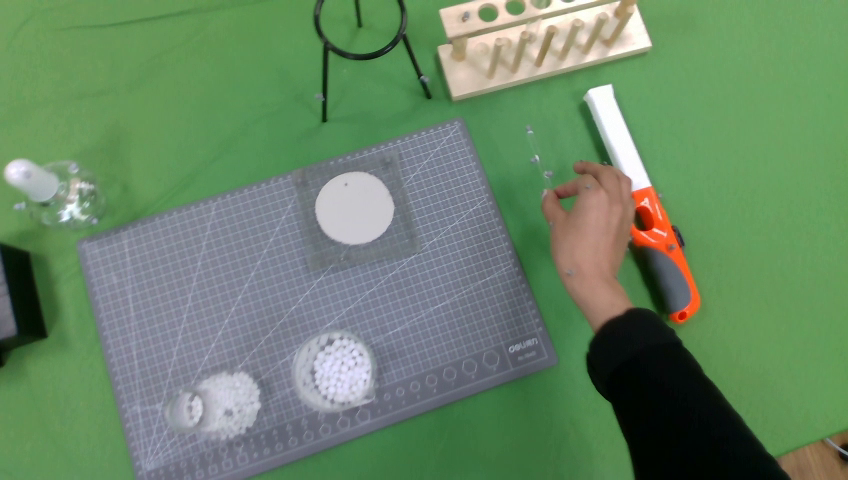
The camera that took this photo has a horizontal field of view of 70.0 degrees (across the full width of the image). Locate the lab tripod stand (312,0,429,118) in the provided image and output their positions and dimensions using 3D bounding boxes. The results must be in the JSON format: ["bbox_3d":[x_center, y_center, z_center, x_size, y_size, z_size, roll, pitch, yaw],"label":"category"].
[{"bbox_3d":[-0.065,-0.202,0.644,0.148,0.132,0.148,0,80,-1],"label":"lab tripod stand"}]

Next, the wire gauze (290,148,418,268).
[{"bbox_3d":[-0.079,-0.036,0.672,0.125,0.011,0.121,-11,79,-6],"label":"wire gauze"}]

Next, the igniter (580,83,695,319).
[{"bbox_3d":[0.237,-0.048,0.673,0.057,0.025,0.275,-16,79,-14],"label":"igniter"}]

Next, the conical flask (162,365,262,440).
[{"bbox_3d":[-0.204,0.156,0.572,0.075,0.122,0.075,0,78,-1],"label":"conical flask"}]

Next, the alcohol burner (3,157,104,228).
[{"bbox_3d":[-0.383,-0.053,0.618,0.078,0.119,0.077,0,80,0],"label":"alcohol burner"}]

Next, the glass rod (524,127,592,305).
[{"bbox_3d":[0.141,-0.024,0.637,0.008,0.008,0.200,-21,94,-6],"label":"glass rod"}]

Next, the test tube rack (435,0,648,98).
[{"bbox_3d":[0.138,-0.236,0.679,0.242,0.085,0.066,-15,78,-4],"label":"test tube rack"}]

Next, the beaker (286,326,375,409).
[{"bbox_3d":[-0.083,0.127,0.592,0.084,0.100,0.074,34,80,6],"label":"beaker"}]

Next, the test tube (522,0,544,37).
[{"bbox_3d":[0.118,-0.256,0.633,0.017,0.151,0.017,0,79,2],"label":"test tube"}]

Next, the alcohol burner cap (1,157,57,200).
[{"bbox_3d":[-0.383,-0.063,0.583,0.034,0.048,0.033,0,72,0],"label":"alcohol burner cap"}]
